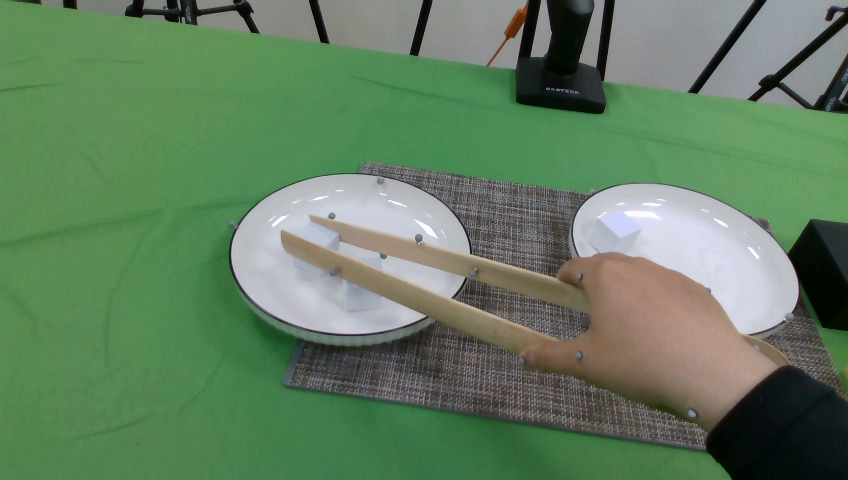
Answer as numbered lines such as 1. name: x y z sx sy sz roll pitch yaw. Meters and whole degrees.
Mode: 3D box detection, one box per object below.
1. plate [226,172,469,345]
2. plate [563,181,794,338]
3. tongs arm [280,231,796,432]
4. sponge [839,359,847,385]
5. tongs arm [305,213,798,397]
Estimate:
1. plate: -0.064 0.015 0.537 0.209 0.038 0.207 4 42 -4
2. plate: 0.232 0.022 0.573 0.208 0.039 0.205 4 42 -4
3. tongs arm: 0.038 0.050 0.424 0.384 0.028 0.028 17 39 31
4. sponge: 0.412 0.164 0.432 0.118 0.061 0.205 5 43 -1
5. tongs arm: 0.051 0.038 0.438 0.382 0.027 0.050 14 40 27
